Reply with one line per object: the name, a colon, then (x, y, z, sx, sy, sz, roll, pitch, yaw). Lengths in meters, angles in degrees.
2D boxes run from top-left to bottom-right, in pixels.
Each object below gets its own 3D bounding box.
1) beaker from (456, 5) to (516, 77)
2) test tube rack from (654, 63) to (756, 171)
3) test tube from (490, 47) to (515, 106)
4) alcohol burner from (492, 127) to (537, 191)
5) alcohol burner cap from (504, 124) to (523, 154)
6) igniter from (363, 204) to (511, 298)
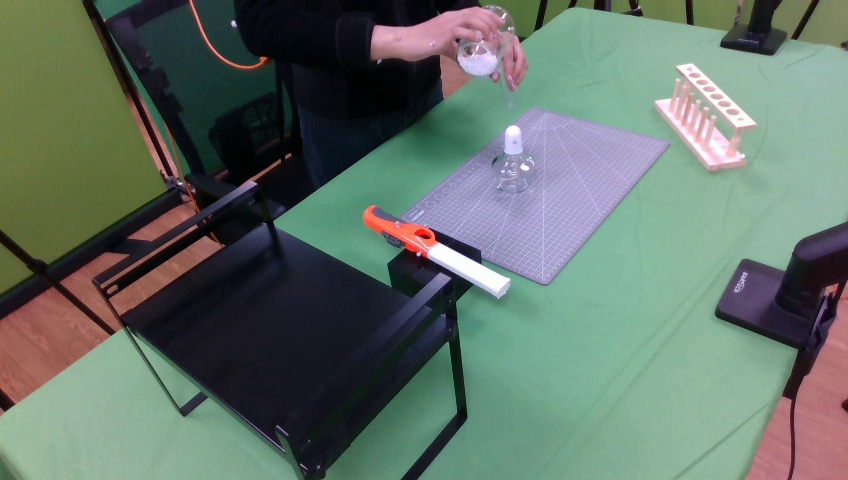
beaker: (0.097, -0.311, 0.959, 0.073, 0.084, 0.100, 11, 50, 19)
test tube rack: (0.511, -0.233, 1.120, 0.067, 0.085, 0.241, -8, 41, -1)
test tube: (0.142, -0.287, 1.079, 0.017, 0.151, 0.017, -8, 63, 17)
alcohol burner: (0.156, -0.146, 1.046, 0.078, 0.119, 0.077, -4, 43, 4)
alcohol burner cap: (0.151, -0.173, 1.022, 0.034, 0.048, 0.033, -4, 36, 3)
igniter: (0.007, 0.009, 0.887, 0.274, 0.025, 0.057, 29, 50, 32)
